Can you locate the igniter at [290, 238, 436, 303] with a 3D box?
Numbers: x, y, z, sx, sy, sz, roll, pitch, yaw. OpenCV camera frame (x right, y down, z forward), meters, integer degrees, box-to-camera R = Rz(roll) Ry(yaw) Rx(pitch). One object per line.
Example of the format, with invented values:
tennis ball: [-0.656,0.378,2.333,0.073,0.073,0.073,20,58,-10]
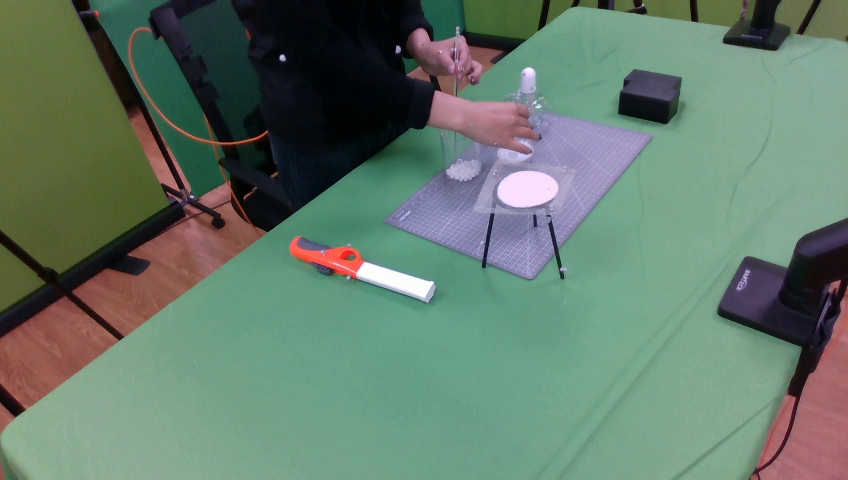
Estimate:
igniter: [-0.106,0.044,0.949,0.274,0.025,0.057,16,57,27]

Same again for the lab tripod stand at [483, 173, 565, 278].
lab tripod stand: [0.151,-0.025,0.896,0.148,0.132,0.147,-7,40,6]

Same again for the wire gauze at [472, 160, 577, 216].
wire gauze: [0.143,-0.073,0.850,0.121,0.011,0.125,8,43,22]

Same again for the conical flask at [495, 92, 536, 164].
conical flask: [0.162,-0.202,1.082,0.075,0.122,0.075,-6,44,6]

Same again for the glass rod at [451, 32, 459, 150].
glass rod: [0.054,-0.256,1.048,0.008,0.200,0.008,2,17,0]

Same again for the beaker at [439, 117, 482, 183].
beaker: [0.068,-0.160,1.096,0.073,0.101,0.084,7,43,19]

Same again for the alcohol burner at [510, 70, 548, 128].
alcohol burner: [0.209,-0.287,1.208,0.078,0.119,0.077,-5,42,5]

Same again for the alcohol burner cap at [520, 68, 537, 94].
alcohol burner cap: [0.205,-0.313,1.183,0.034,0.048,0.033,-3,50,4]
